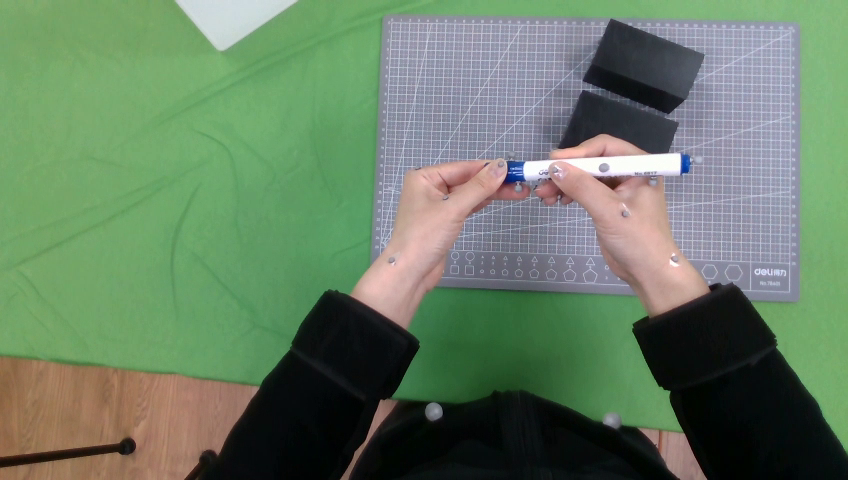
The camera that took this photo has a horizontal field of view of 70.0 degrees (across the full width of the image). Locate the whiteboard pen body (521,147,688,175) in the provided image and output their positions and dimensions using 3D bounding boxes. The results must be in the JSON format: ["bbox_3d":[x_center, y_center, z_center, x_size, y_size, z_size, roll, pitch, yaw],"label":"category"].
[{"bbox_3d":[0.117,-0.056,0.442,0.140,0.017,0.017,0,85,20],"label":"whiteboard pen body"}]

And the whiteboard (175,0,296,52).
[{"bbox_3d":[-0.213,-0.378,0.574,0.217,0.308,0.142,-33,65,1],"label":"whiteboard"}]

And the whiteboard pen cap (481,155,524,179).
[{"bbox_3d":[0.062,-0.055,0.463,0.033,0.018,0.018,-1,85,19],"label":"whiteboard pen cap"}]
